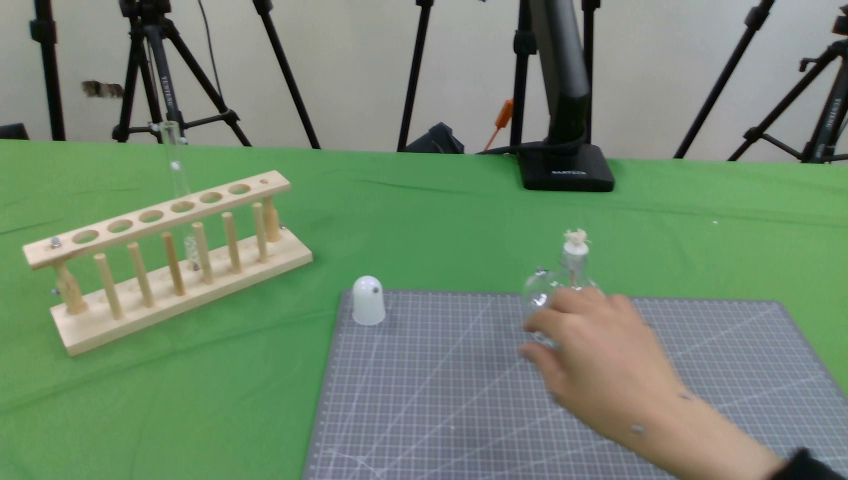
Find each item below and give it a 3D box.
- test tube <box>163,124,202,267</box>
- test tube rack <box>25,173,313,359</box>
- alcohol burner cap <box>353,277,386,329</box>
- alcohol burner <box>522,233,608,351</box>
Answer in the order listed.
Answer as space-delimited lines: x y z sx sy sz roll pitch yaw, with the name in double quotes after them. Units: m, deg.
-0.232 -0.039 0.589 0.017 0.151 0.017 1 29 0 "test tube"
-0.236 0.017 0.597 0.243 0.086 0.066 -23 42 -31 "test tube rack"
-0.053 0.057 0.578 0.034 0.048 0.033 2 36 -1 "alcohol burner cap"
0.129 0.042 0.544 0.078 0.120 0.077 2 37 -1 "alcohol burner"
